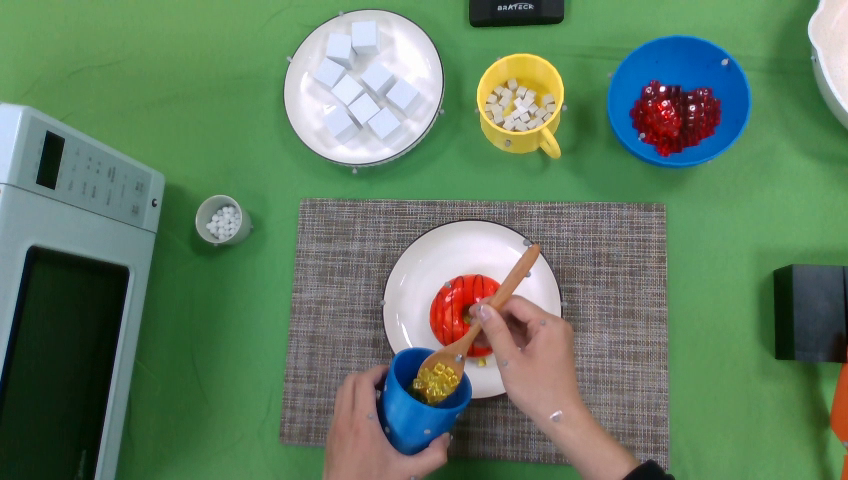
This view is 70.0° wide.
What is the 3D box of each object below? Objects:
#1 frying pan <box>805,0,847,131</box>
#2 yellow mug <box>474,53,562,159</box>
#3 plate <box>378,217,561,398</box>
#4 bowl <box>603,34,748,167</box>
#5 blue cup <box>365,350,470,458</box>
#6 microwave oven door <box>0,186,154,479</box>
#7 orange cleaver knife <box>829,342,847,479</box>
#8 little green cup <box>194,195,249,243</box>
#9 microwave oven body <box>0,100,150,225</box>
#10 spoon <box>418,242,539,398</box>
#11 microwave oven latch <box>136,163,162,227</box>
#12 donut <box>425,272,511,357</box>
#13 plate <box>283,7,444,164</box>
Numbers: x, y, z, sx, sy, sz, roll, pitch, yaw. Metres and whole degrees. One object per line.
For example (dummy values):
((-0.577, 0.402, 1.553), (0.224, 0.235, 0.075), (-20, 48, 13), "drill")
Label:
((0.553, -0.113, 0.633), (0.306, 0.103, 0.485), (7, 74, 11), "frying pan")
((0.121, -0.151, 0.724), (0.100, 0.064, 0.130), (-35, 78, 1), "yellow mug")
((0.051, 0.078, 0.706), (0.209, 0.038, 0.208), (-1, 81, 8), "plate")
((0.278, -0.147, 0.694), (0.151, 0.077, 0.151), (-1, 81, 9), "bowl")
((-0.015, 0.172, 0.609), (0.092, 0.093, 0.100), (48, 134, 13), "blue cup")
((-0.399, 0.141, 0.644), (0.039, 0.245, 0.354), (4, 81, 10), "microwave oven door")
((0.431, 0.185, 0.613), (0.012, 0.077, 0.212), (1, 109, 9), "orange cleaver knife")
((-0.255, -0.024, 0.772), (0.061, 0.039, 0.061), (-1, 82, 8), "little green cup")
((-0.537, 0.088, 0.678), (0.325, 0.261, 0.440), (5, 82, 9), "microwave oven body")
((0.048, 0.078, 0.561), (0.041, 0.021, 0.194), (36, 117, 3), "spoon")
((-0.359, -0.058, 0.775), (0.030, 0.029, 0.079), (8, 82, 9), "microwave oven latch")
((0.050, 0.085, 0.694), (0.099, 0.048, 0.099), (-1, 84, 10), "donut")
((-0.075, -0.194, 0.775), (0.207, 0.039, 0.207), (-1, 80, 8), "plate")
